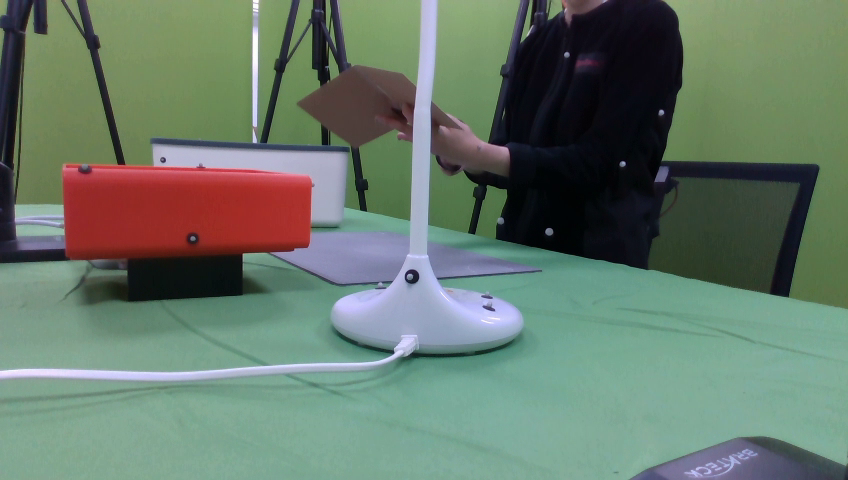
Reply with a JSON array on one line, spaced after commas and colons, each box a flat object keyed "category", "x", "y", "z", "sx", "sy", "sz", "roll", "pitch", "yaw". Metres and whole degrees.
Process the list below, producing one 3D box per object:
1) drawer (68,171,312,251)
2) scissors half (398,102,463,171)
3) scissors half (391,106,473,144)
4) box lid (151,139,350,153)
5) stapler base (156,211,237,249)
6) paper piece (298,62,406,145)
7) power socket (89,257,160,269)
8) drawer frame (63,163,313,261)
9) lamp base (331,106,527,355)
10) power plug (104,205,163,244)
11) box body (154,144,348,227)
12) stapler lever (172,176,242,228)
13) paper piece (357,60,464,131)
[{"category": "drawer", "x": -0.247, "y": -0.037, "z": 0.629, "sx": 0.213, "sy": 0.073, "sz": 0.193, "roll": -2, "pitch": 9, "yaw": -30}, {"category": "scissors half", "x": 0.007, "y": -0.172, "z": 0.985, "sx": 0.012, "sy": 0.040, "sz": 0.176, "roll": 13, "pitch": -27, "yaw": 52}, {"category": "scissors half", "x": 0.016, "y": -0.193, "z": 0.989, "sx": 0.176, "sy": 0.040, "sz": 0.013, "roll": 8, "pitch": -2, "yaw": -39}, {"category": "box lid", "x": -0.352, "y": -0.191, "z": 1.256, "sx": 0.373, "sy": 0.015, "sz": 0.262, "roll": 0, "pitch": 8, "yaw": -18}, {"category": "stapler base", "x": -0.227, "y": -0.017, "z": 0.624, "sx": 0.041, "sy": 0.024, "sz": 0.130, "roll": 18, "pitch": 10, "yaw": -2}, {"category": "paper piece", "x": -0.108, "y": -0.210, "z": 0.960, "sx": 0.135, "sy": 0.004, "sz": 0.136, "roll": -20, "pitch": -39, "yaw": 36}, {"category": "power socket", "x": -0.409, "y": 0.004, "z": 0.793, "sx": 0.072, "sy": 0.032, "sz": 0.225, "roll": -2, "pitch": 8, "yaw": -38}, {"category": "drawer frame", "x": -0.248, "y": -0.036, "z": 0.626, "sx": 0.215, "sy": 0.082, "sz": 0.200, "roll": -3, "pitch": 9, "yaw": -31}, {"category": "lamp base", "x": 0.006, "y": -0.012, "z": 0.478, "sx": 0.161, "sy": 0.180, "sz": 0.179, "roll": 2, "pitch": 10, "yaw": 2}, {"category": "power plug", "x": -0.390, "y": -0.021, "z": 0.815, "sx": 0.073, "sy": 0.052, "sz": 0.035, "roll": -1, "pitch": 8, "yaw": -28}, {"category": "box body", "x": -0.357, "y": -0.119, "z": 1.264, "sx": 0.365, "sy": 0.160, "sz": 0.253, "roll": 0, "pitch": 7, "yaw": -18}, {"category": "stapler lever", "x": -0.217, "y": -0.041, "z": 0.618, "sx": 0.027, "sy": 0.040, "sz": 0.118, "roll": 18, "pitch": 11, "yaw": -2}, {"category": "paper piece", "x": -0.021, "y": -0.206, "z": 0.869, "sx": 0.139, "sy": 0.008, "sz": 0.135, "roll": 36, "pitch": -1, "yaw": -38}]
